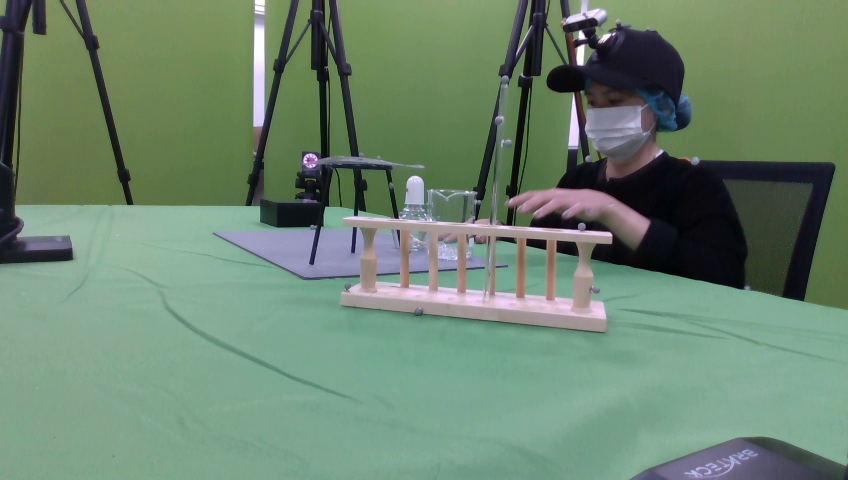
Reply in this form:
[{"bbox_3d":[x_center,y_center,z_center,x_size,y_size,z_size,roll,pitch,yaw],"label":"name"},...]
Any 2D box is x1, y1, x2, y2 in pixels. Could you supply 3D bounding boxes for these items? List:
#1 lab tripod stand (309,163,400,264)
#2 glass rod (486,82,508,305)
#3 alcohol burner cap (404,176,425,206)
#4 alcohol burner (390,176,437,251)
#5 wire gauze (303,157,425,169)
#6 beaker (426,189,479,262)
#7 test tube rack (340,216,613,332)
[{"bbox_3d":[-0.091,-0.037,0.813,0.148,0.131,0.148,1,6,0],"label":"lab tripod stand"},{"bbox_3d":[0.064,-0.035,0.528,0.008,0.199,0.008,2,13,0],"label":"glass rod"},{"bbox_3d":[-0.015,-0.077,0.951,0.034,0.048,0.034,2,4,0],"label":"alcohol burner cap"},{"bbox_3d":[-0.016,-0.042,0.955,0.078,0.119,0.078,4,6,0],"label":"alcohol burner"},{"bbox_3d":[-0.082,-0.102,0.799,0.126,0.011,0.121,-1,7,-30],"label":"wire gauze"},{"bbox_3d":[0.039,-0.022,0.871,0.074,0.100,0.084,4,8,12],"label":"beaker"},{"bbox_3d":[0.047,0.026,0.568,0.242,0.085,0.067,4,8,13],"label":"test tube rack"}]
